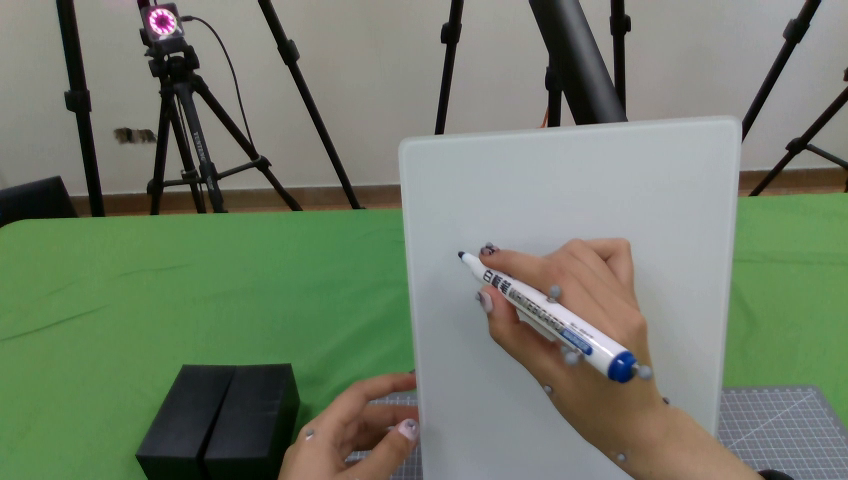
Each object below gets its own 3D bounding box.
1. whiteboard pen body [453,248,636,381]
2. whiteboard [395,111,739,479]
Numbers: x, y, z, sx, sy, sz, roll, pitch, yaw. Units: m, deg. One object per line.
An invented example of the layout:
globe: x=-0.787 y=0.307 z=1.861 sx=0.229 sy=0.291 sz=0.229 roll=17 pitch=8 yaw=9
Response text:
whiteboard pen body: x=0.055 y=0.032 z=0.325 sx=0.017 sy=0.017 sz=0.139 roll=-21 pitch=33 yaw=-24
whiteboard: x=0.100 y=0.056 z=0.481 sx=0.217 sy=0.307 sz=0.143 roll=-3 pitch=16 yaw=1
